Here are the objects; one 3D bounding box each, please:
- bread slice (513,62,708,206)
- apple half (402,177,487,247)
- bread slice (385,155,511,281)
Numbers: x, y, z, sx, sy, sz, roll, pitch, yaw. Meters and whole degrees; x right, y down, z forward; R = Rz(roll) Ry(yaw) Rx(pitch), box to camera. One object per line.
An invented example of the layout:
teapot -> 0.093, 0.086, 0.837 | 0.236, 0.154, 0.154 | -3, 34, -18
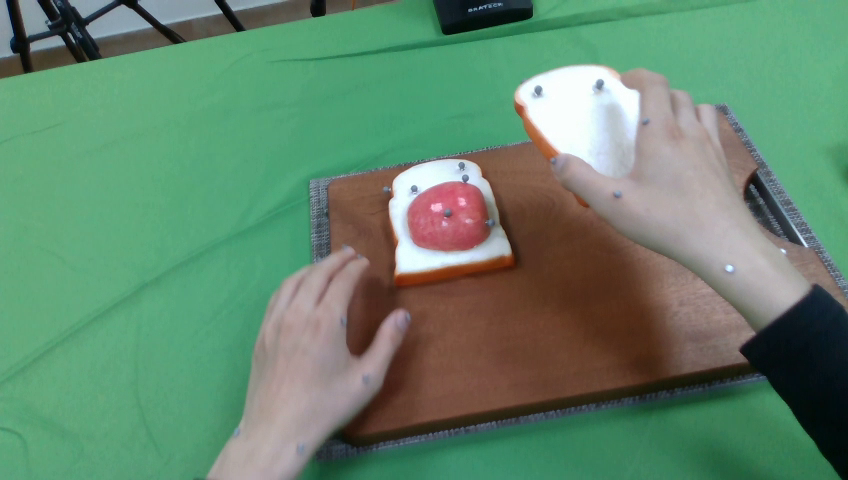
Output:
bread slice -> 0.131, -0.089, 0.468 | 0.107, 0.018, 0.133 | -23, 57, -17
apple half -> 0.016, -0.031, 0.525 | 0.081, 0.033, 0.080 | -3, 52, 4
bread slice -> 0.013, -0.026, 0.552 | 0.105, 0.019, 0.130 | -10, 53, -1
